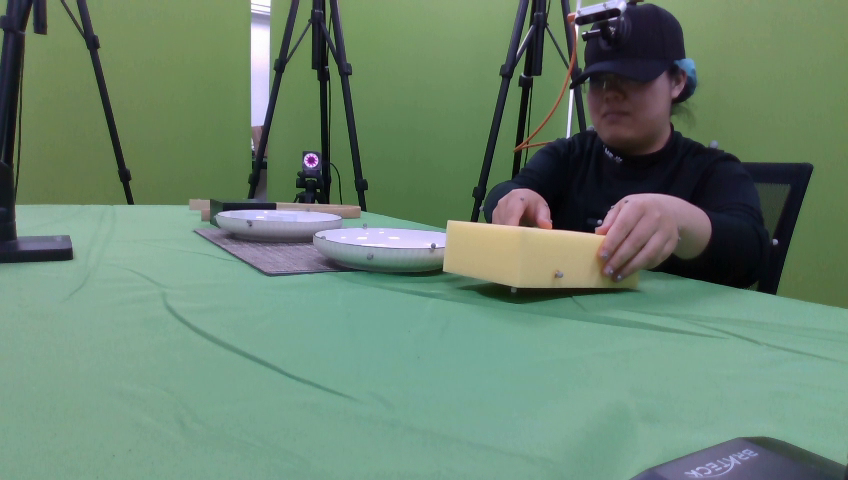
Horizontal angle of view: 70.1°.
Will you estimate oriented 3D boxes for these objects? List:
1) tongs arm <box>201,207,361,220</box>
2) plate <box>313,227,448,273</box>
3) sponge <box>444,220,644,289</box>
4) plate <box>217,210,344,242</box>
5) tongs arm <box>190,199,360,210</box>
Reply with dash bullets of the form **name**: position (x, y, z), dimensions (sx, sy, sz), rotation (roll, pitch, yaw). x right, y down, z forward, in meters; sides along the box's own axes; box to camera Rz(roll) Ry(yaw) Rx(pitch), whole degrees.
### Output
- **tongs arm**: position (-0.302, -0.060, 1.350), dimensions (0.390, 0.028, 0.028), rotation (-3, 7, -38)
- **plate**: position (-0.044, 0.012, 0.807), dimensions (0.209, 0.038, 0.209), rotation (2, 7, 0)
- **sponge**: position (0.141, 0.017, 0.697), dimensions (0.208, 0.061, 0.117), rotation (4, 3, -37)
- **plate**: position (-0.241, -0.024, 1.026), dimensions (0.208, 0.039, 0.207), rotation (3, 7, 0)
- **tongs arm**: position (-0.341, -0.075, 1.419), dimensions (0.387, 0.026, 0.050), rotation (0, 8, -25)
